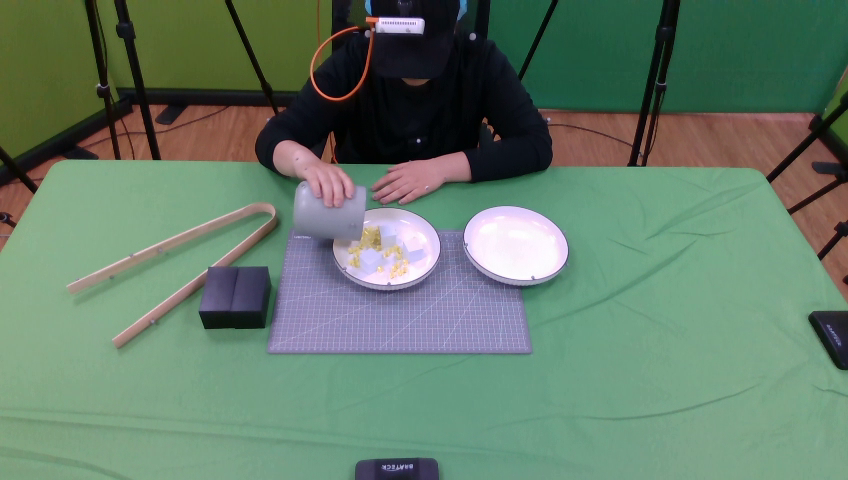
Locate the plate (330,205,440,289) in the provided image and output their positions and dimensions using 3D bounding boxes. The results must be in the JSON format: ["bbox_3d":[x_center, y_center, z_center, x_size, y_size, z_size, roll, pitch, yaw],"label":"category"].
[{"bbox_3d":[-0.074,0.018,1.160,0.208,0.039,0.206,2,46,-2],"label":"plate"}]

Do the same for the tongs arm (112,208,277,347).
[{"bbox_3d":[-0.401,0.058,1.108,0.028,0.028,0.387,26,49,23],"label":"tongs arm"}]

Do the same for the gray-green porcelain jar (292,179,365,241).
[{"bbox_3d":[-0.177,-0.057,1.124,0.127,0.106,0.105,5,46,-10],"label":"gray-green porcelain jar"}]

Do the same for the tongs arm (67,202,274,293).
[{"bbox_3d":[-0.461,0.013,1.142,0.385,0.026,0.050,-31,56,-31],"label":"tongs arm"}]

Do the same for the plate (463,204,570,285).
[{"bbox_3d":[0.178,0.012,1.184,0.209,0.038,0.208,3,46,-3],"label":"plate"}]
